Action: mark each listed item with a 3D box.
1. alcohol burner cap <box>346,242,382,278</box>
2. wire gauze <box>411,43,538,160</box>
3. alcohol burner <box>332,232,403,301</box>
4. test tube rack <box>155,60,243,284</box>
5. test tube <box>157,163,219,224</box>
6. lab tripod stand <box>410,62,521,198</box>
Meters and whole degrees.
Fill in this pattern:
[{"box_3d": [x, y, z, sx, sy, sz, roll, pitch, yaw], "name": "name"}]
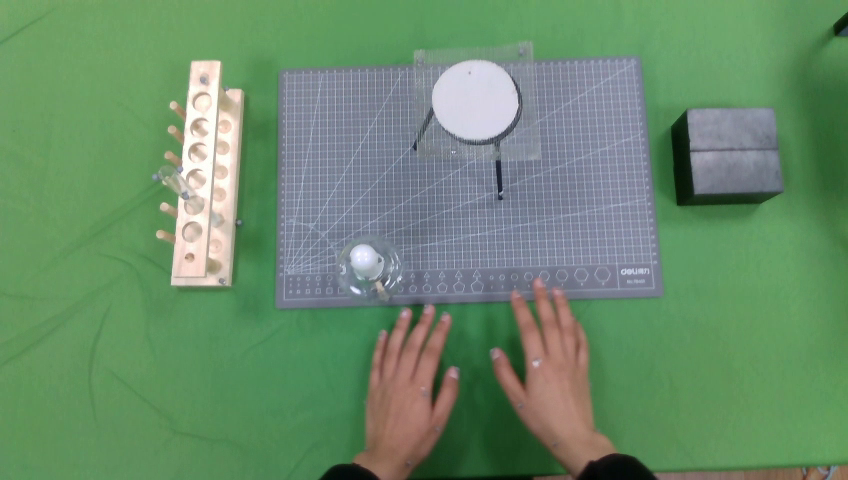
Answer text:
[{"box_3d": [-0.063, 0.019, 0.620, 0.034, 0.048, 0.033, -1, 75, 6], "name": "alcohol burner cap"}, {"box_3d": [0.050, -0.138, 0.607, 0.125, 0.011, 0.121, -1, 80, 1], "name": "wire gauze"}, {"box_3d": [-0.062, 0.026, 0.655, 0.078, 0.119, 0.077, 0, 79, 0], "name": "alcohol burner"}, {"box_3d": [-0.261, -0.075, 0.694, 0.067, 0.085, 0.241, 0, 79, 1], "name": "test tube rack"}, {"box_3d": [-0.245, -0.045, 0.638, 0.017, 0.151, 0.017, 1, 74, -1], "name": "test tube"}, {"box_3d": [0.055, -0.130, 0.673, 0.148, 0.132, 0.147, 0, 77, 2], "name": "lab tripod stand"}]
